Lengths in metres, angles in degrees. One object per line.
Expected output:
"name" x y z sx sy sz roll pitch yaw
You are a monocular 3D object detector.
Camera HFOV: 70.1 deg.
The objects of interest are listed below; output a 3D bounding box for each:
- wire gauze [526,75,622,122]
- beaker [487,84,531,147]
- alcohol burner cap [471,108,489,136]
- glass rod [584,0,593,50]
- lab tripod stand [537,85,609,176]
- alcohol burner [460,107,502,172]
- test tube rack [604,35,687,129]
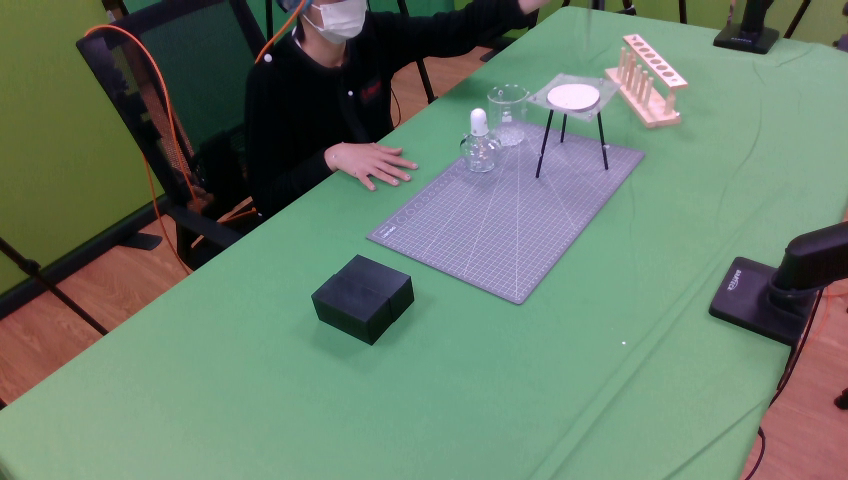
"wire gauze" 0.255 -0.248 1.030 0.124 0.011 0.122 24 51 32
"beaker" 0.163 -0.237 1.161 0.084 0.101 0.073 -10 41 -3
"alcohol burner cap" 0.098 -0.211 1.074 0.034 0.048 0.033 -6 42 6
"glass rod" 0.306 -0.447 1.097 0.008 0.200 0.008 -1 29 1
"lab tripod stand" 0.259 -0.192 1.068 0.148 0.132 0.147 -4 42 4
"alcohol burner" 0.102 -0.185 1.098 0.078 0.119 0.077 -6 40 5
"test tube rack" 0.447 -0.330 1.241 0.067 0.085 0.241 -9 41 -2
